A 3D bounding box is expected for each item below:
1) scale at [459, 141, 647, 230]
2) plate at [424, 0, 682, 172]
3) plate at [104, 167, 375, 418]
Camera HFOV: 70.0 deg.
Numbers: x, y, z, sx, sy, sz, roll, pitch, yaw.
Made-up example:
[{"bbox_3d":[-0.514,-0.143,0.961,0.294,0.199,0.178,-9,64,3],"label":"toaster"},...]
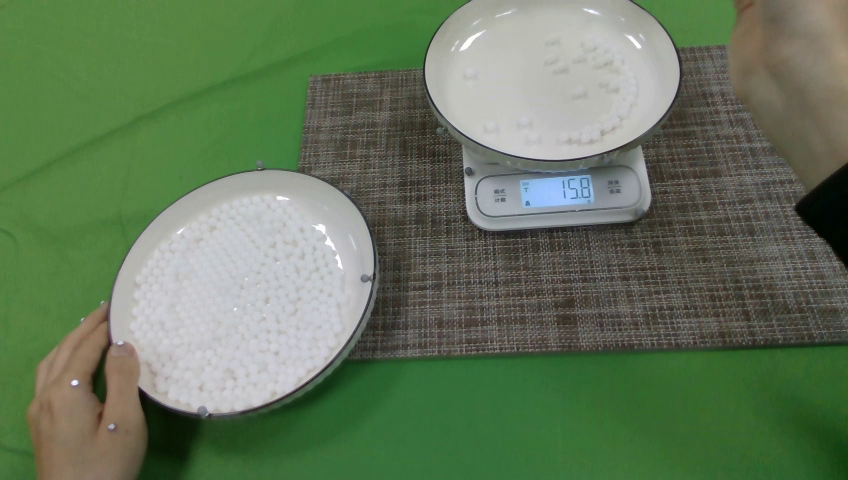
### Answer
[{"bbox_3d":[0.104,-0.102,0.528,0.148,0.032,0.199,-4,60,4],"label":"scale"},{"bbox_3d":[0.104,-0.137,0.510,0.207,0.039,0.205,-2,59,4],"label":"plate"},{"bbox_3d":[-0.138,0.037,0.470,0.209,0.038,0.207,-3,60,6],"label":"plate"}]
